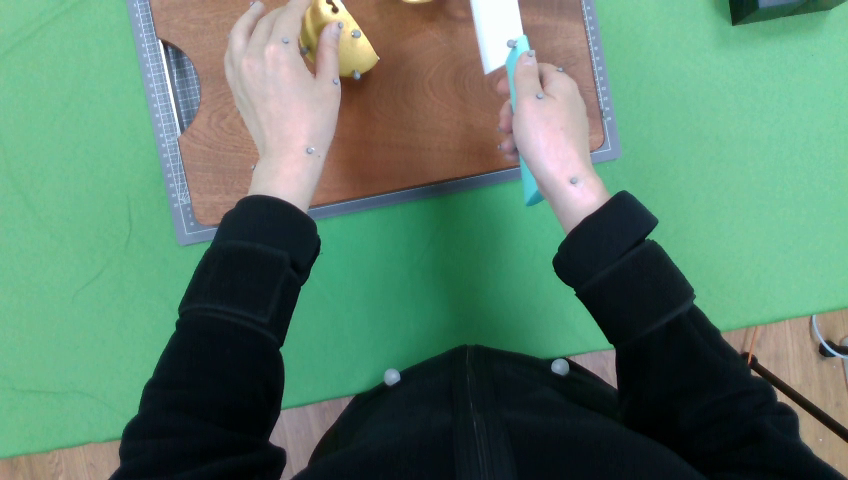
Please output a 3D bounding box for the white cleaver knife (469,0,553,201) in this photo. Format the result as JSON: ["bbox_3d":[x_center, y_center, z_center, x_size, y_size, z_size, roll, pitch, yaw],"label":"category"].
[{"bbox_3d":[0.065,-0.174,0.502,0.021,0.065,0.286,-10,92,-28],"label":"white cleaver knife"}]

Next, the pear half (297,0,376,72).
[{"bbox_3d":[-0.082,-0.181,0.520,0.056,0.110,0.076,-42,86,1],"label":"pear half"}]
